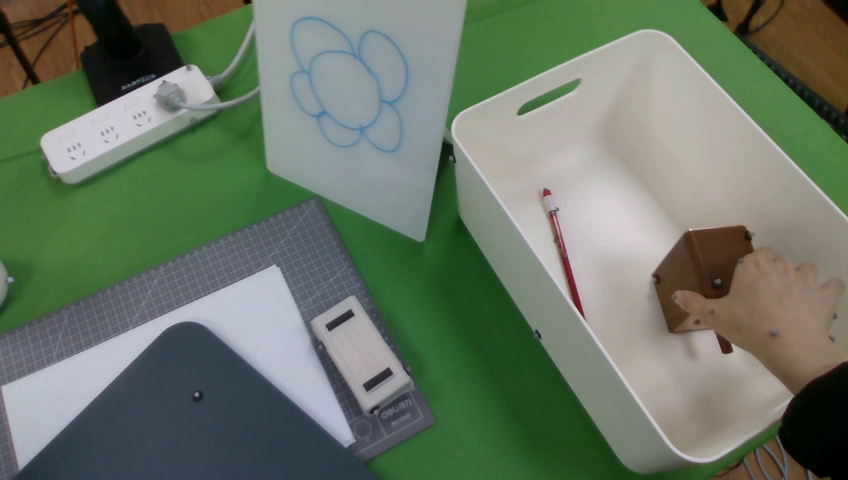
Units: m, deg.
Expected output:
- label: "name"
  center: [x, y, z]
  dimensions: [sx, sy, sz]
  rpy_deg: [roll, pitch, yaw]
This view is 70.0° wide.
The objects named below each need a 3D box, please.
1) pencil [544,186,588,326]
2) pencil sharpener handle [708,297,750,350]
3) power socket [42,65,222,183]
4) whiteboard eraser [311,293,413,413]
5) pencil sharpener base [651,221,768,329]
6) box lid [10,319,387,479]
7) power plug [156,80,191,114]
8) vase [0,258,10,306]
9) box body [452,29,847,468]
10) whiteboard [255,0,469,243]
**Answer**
- label: "pencil"
  center: [0.158, 0.025, 0.664]
  dimensions: [0.012, 0.012, 0.192]
  rpy_deg: [-8, 66, -2]
- label: "pencil sharpener handle"
  center: [0.285, 0.079, 0.565]
  dimensions: [0.036, 0.068, 0.030]
  rpy_deg: [-10, 63, 8]
- label: "power socket"
  center: [-0.359, -0.146, 0.752]
  dimensions: [0.227, 0.033, 0.071]
  rpy_deg: [-31, 67, -14]
- label: "whiteboard eraser"
  center: [-0.063, 0.112, 0.609]
  dimensions: [0.055, 0.042, 0.112]
  rpy_deg: [-31, 67, -16]
- label: "pencil sharpener base"
  center: [0.277, 0.040, 0.598]
  dimensions: [0.061, 0.108, 0.076]
  rpy_deg: [-5, 63, -2]
- label: "box lid"
  center: [-0.191, 0.264, 0.555]
  dimensions: [0.369, 0.015, 0.262]
  rpy_deg: [35, 69, 16]
- label: "power plug"
  center: [-0.300, -0.161, 0.733]
  dimensions: [0.035, 0.053, 0.072]
  rpy_deg: [-22, 66, -9]
- label: "vase"
  center: [-0.501, 0.017, 0.580]
  dimensions: [0.098, 0.201, 0.097]
  rpy_deg: [-1, 63, 2]
- label: "box body"
  center: [0.215, 0.005, 0.592]
  dimensions: [0.254, 0.161, 0.361]
  rpy_deg: [-27, 66, -12]
- label: "whiteboard"
  center: [-0.045, -0.184, 0.647]
  dimensions: [0.216, 0.308, 0.143]
  rpy_deg: [26, 48, 14]
